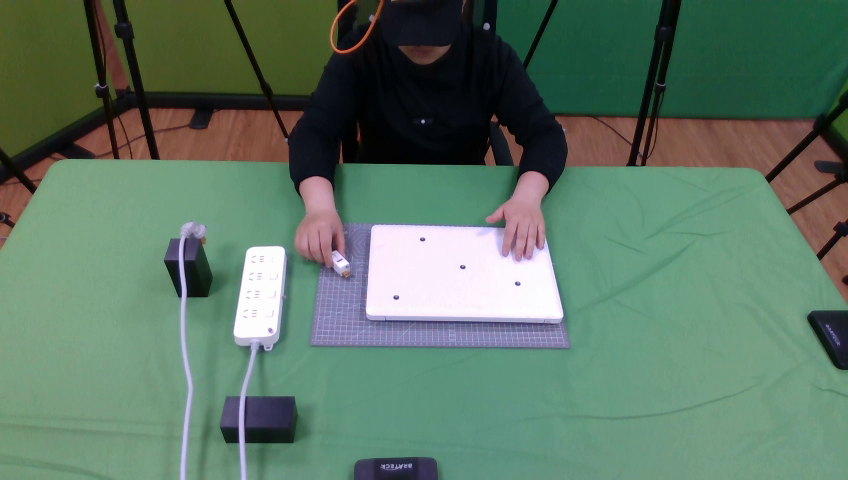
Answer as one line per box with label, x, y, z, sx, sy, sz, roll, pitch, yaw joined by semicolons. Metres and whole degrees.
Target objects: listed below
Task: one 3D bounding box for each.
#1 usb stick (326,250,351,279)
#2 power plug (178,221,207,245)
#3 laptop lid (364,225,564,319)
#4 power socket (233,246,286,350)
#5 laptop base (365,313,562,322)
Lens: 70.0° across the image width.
usb stick;-0.158;0.047;1.133;0.021;0.027;0.059;-30;59;-26
power plug;-0.413;-0.002;1.070;0.035;0.053;0.072;-1;42;24
laptop lid;0.070;0.053;1.138;0.357;0.013;0.240;3;44;-2
power socket;-0.290;0.094;1.077;0.072;0.033;0.225;-2;46;-5
laptop base;0.070;0.063;1.145;0.354;0.023;0.234;1;42;-3
